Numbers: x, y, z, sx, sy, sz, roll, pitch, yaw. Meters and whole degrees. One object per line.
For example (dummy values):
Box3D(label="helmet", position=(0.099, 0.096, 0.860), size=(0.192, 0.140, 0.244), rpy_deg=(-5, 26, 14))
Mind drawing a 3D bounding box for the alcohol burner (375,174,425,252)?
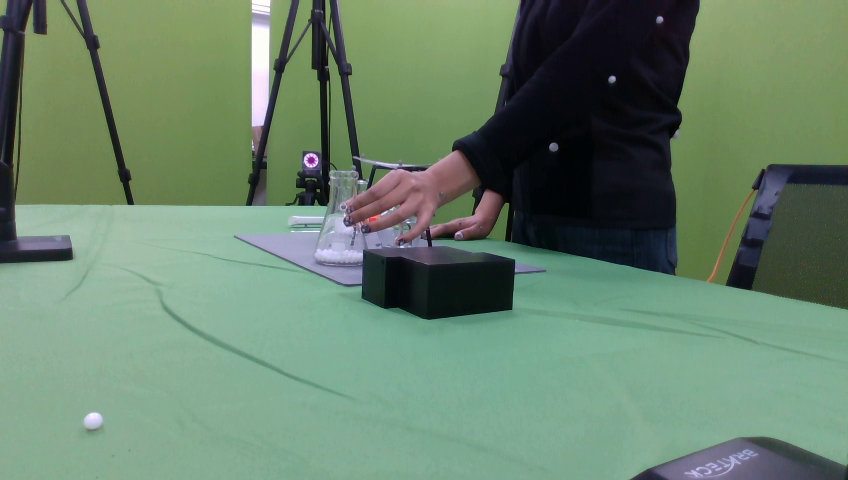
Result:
Box3D(label="alcohol burner", position=(-0.036, -0.042, 0.933), size=(0.078, 0.119, 0.078), rpy_deg=(2, 9, 0))

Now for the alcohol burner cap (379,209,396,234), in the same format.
Box3D(label="alcohol burner cap", position=(-0.069, -0.036, 1.154), size=(0.034, 0.048, 0.034), rpy_deg=(2, 7, 0))

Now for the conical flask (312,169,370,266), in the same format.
Box3D(label="conical flask", position=(-0.106, -0.031, 0.788), size=(0.075, 0.122, 0.075), rpy_deg=(2, 8, 0))

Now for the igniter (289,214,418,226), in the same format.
Box3D(label="igniter", position=(-0.141, -0.042, 1.258), size=(0.278, 0.025, 0.057), rpy_deg=(-1, -2, -30))

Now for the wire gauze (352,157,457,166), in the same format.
Box3D(label="wire gauze", position=(-0.030, -0.119, 0.927), size=(0.122, 0.011, 0.124), rpy_deg=(-3, 9, -36))

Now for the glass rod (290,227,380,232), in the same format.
Box3D(label="glass rod", position=(-0.161, -0.022, 1.177), size=(0.201, 0.008, 0.008), rpy_deg=(-2, 8, -28))

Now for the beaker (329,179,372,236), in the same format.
Box3D(label="beaker", position=(-0.137, -0.061, 1.101), size=(0.084, 0.100, 0.074), rpy_deg=(4, 7, 20))

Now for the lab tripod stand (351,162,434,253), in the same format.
Box3D(label="lab tripod stand", position=(-0.034, -0.052, 0.934), size=(0.148, 0.131, 0.148), rpy_deg=(4, 7, 0))
